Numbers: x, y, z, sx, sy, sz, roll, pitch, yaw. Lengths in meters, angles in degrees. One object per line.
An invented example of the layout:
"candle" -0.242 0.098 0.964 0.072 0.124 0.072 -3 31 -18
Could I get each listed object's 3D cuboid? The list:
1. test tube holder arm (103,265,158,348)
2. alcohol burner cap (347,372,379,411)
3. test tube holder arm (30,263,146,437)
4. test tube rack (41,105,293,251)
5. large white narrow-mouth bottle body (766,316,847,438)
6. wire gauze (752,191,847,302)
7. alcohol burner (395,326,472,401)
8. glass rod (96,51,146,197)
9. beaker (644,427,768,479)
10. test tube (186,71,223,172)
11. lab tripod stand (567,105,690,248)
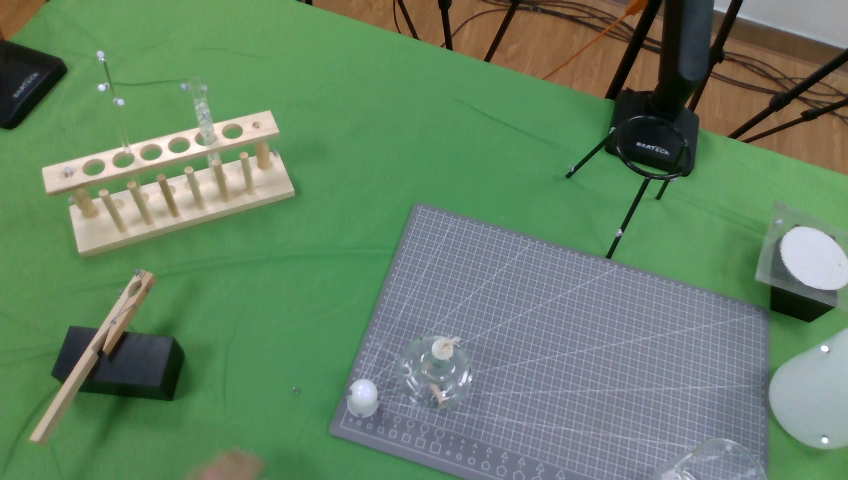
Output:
"test tube holder arm" -0.290 0.064 0.593 0.010 0.015 0.087 20 60 5
"alcohol burner cap" -0.062 0.151 0.611 0.034 0.048 0.033 2 61 -4
"test tube holder arm" -0.310 0.098 0.570 0.013 0.015 0.177 20 60 4
"test tube rack" -0.279 -0.071 0.686 0.243 0.086 0.066 -19 65 -17
"large white narrow-mouth bottle body" 0.437 0.127 0.601 0.102 0.196 0.101 3 60 -4
"wire gauze" 0.460 0.009 0.720 0.121 0.011 0.124 24 61 7
"alcohol burner" 0.012 0.116 0.598 0.078 0.120 0.077 4 60 -7
"glass rod" -0.311 -0.110 0.627 0.008 0.201 0.008 6 52 -7
"beaker" 0.259 0.225 0.576 0.084 0.101 0.073 14 60 3
"test tube" -0.237 -0.124 0.662 0.017 0.151 0.017 4 58 -6
"lab tripod stand" 0.249 -0.081 0.729 0.148 0.132 0.147 4 62 -6
